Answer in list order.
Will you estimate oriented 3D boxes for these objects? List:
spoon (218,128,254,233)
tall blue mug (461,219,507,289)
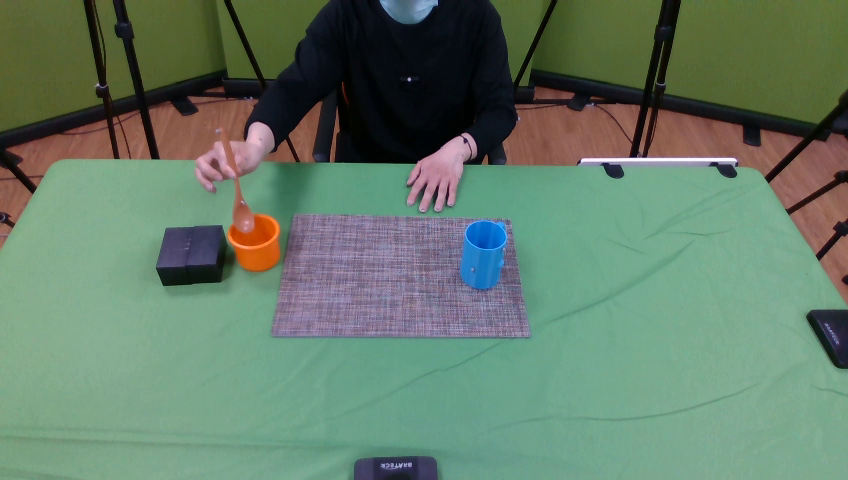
[{"bbox_3d":[-0.330,-0.102,1.062,0.021,0.194,0.041,21,37,36],"label":"spoon"},{"bbox_3d":[0.111,0.015,1.122,0.078,0.108,0.106,6,46,4],"label":"tall blue mug"}]
